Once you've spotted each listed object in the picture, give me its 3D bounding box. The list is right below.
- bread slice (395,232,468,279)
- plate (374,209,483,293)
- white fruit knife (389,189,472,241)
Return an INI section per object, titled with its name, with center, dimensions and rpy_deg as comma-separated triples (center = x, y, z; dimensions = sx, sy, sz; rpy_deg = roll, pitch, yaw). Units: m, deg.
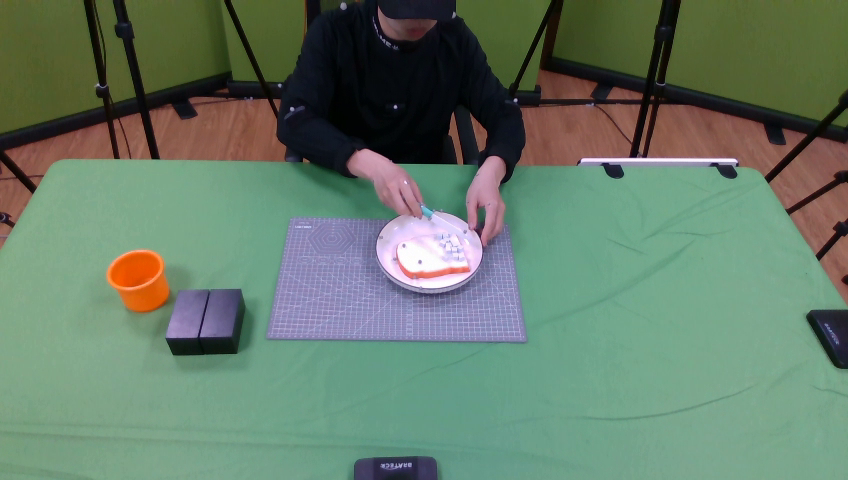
[bread slice]
center = 0.011, 0.030, 1.158
dimensions = 0.132, 0.019, 0.104
rpy_deg = -8, 47, -14
[plate]
center = 0.009, 0.024, 1.160
dimensions = 0.209, 0.038, 0.208
rpy_deg = 2, 46, -2
[white fruit knife]
center = 0.011, -0.049, 1.160
dimensions = 0.206, 0.027, 0.016
rpy_deg = 31, 57, 27
